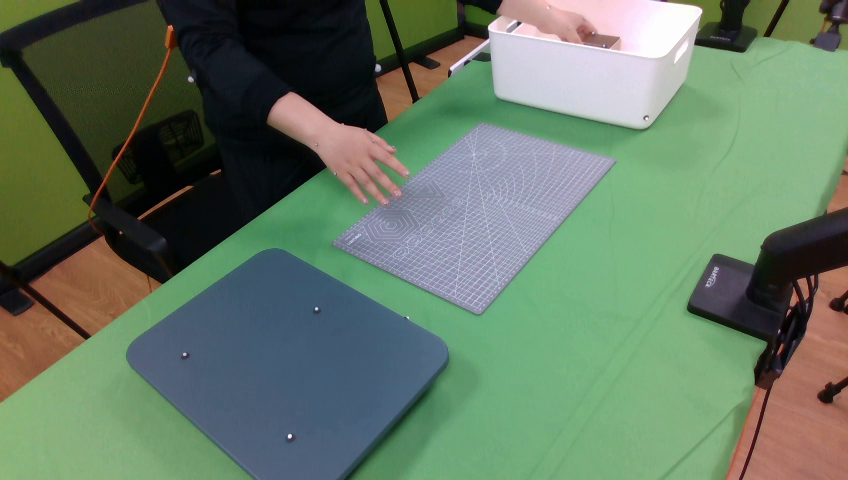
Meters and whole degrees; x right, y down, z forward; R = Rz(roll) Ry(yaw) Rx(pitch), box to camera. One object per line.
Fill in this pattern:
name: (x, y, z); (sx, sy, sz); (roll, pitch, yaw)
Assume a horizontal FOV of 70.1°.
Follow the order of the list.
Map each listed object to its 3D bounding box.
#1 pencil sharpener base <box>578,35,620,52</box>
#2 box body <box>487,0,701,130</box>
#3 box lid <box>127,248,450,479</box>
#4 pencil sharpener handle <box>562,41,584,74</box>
pencil sharpener base: (0.360, -0.367, 1.273); (0.076, 0.107, 0.061); (21, 47, 29)
box body: (0.345, -0.379, 1.257); (0.361, 0.161, 0.255); (20, 48, 29)
box lid: (-0.177, 0.145, 0.768); (0.368, 0.015, 0.264); (24, 50, 32)
pencil sharpener handle: (0.315, -0.390, 1.286); (0.030, 0.068, 0.036); (21, 29, 29)
